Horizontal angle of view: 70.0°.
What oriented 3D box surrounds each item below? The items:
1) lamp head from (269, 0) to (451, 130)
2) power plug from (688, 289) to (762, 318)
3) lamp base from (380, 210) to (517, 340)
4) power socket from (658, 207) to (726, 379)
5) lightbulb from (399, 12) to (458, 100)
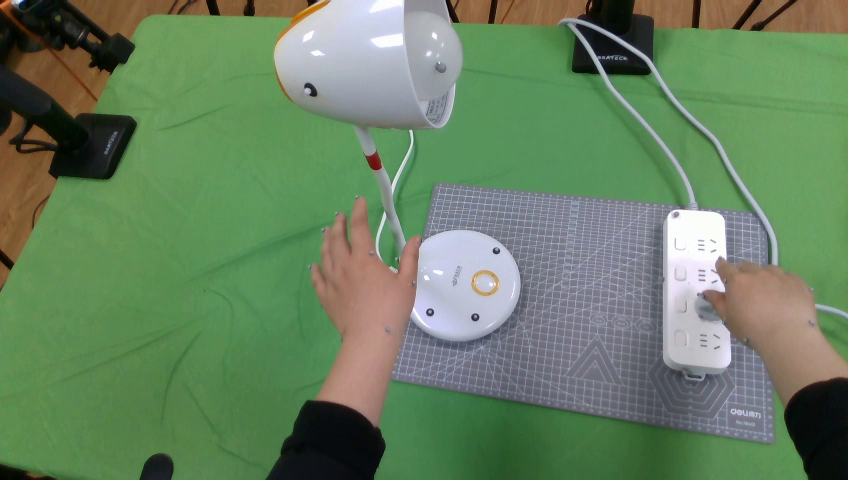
[{"bbox_3d":[-0.048,-0.131,0.451,0.122,0.113,0.111,-5,61,24],"label":"lamp head"},{"bbox_3d":[0.352,0.081,0.717,0.072,0.053,0.035,16,68,12],"label":"power plug"},{"bbox_3d":[0.019,0.021,0.736,0.179,0.182,0.159,1,63,12],"label":"lamp base"},{"bbox_3d":[0.331,0.057,0.753,0.072,0.033,0.225,6,64,10],"label":"power socket"},{"bbox_3d":[-0.028,-0.131,0.435,0.107,0.060,0.059,5,64,21],"label":"lightbulb"}]
